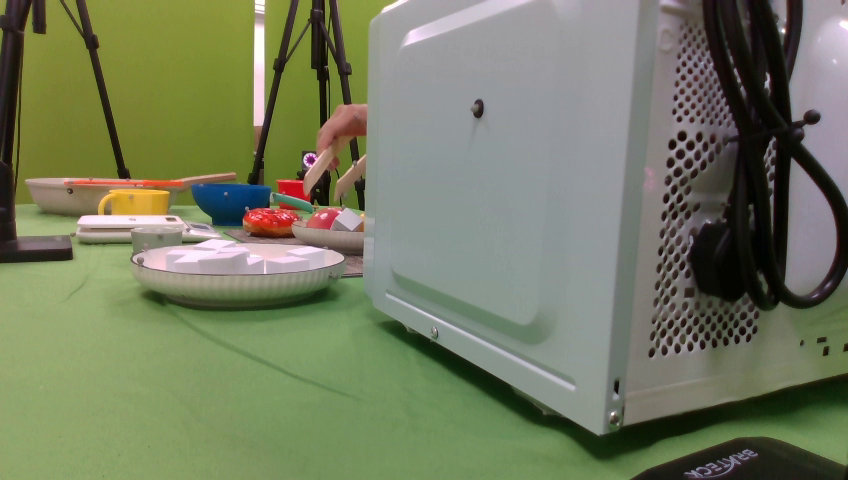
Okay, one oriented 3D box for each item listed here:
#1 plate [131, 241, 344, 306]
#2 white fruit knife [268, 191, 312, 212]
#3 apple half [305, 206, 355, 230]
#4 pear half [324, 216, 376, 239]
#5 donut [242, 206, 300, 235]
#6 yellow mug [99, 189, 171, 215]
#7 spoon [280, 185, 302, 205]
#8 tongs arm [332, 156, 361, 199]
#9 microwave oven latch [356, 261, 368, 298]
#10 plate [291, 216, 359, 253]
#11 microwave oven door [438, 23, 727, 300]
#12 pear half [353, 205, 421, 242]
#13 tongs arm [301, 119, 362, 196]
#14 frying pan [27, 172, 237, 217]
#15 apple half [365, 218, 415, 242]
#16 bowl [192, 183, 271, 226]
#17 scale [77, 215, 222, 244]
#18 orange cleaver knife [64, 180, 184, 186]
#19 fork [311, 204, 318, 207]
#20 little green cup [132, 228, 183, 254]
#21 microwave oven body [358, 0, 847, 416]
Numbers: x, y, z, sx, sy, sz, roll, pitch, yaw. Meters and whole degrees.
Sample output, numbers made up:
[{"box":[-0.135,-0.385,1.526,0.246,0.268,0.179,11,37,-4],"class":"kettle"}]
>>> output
[{"box":[-0.187,0.033,0.625,0.208,0.039,0.207,2,8,0],"class":"plate"},{"box":[-0.364,-0.105,1.464,0.208,0.027,0.016,15,-1,-34],"class":"white fruit knife"},{"box":[-0.138,-0.025,0.917,0.081,0.053,0.074,0,11,-43],"class":"apple half"},{"box":[-0.119,-0.023,0.995,0.088,0.031,0.070,-5,23,-29],"class":"pear half"},{"box":[-0.262,-0.032,1.039,0.099,0.048,0.099,4,10,0],"class":"donut"},{"box":[-0.519,-0.055,1.080,0.099,0.064,0.131,7,9,26],"class":"yellow mug"},{"box":[-0.317,-0.159,1.640,0.194,0.022,0.041,-49,32,-20],"class":"spoon"},{"box":[-0.094,-0.131,0.886,0.051,0.026,0.385,7,22,8],"class":"tongs arm"},{"box":[-0.019,0.033,0.530,0.079,0.029,0.030,-1,7,-26],"class":"microwave oven latch"},{"box":[-0.103,-0.010,0.945,0.209,0.038,0.209,2,7,0],"class":"plate"},{"box":[0.181,-0.073,0.621,0.358,0.243,0.039,-2,8,-29],"class":"microwave oven door"},{"box":[-0.051,-0.024,0.905,0.110,0.056,0.076,2,-3,-38],"class":"pear half"},{"box":[-0.119,-0.133,0.887,0.028,0.028,0.387,2,22,5],"class":"tongs arm"},{"box":[-0.624,-0.118,1.387,0.305,0.102,0.490,8,17,32],"class":"frying pan"},{"box":[-0.053,-0.019,0.967,0.081,0.033,0.081,-3,12,1],"class":"apple half"},{"box":[-0.382,-0.071,1.202,0.151,0.077,0.151,3,7,0],"class":"bowl"},{"box":[-0.434,-0.019,0.963,0.202,0.031,0.148,-1,9,-27],"class":"scale"},{"box":[-0.595,-0.114,1.212,0.212,0.012,0.077,-4,6,-41],"class":"orange cleaver knife"},{"box":[-0.356,-0.105,1.526,0.208,0.018,0.028,16,-6,-41],"class":"fork"},{"box":[-0.342,0.006,0.779,0.061,0.038,0.061,2,8,0],"class":"little green cup"},{"box":[0.211,-0.047,0.475,0.444,0.260,0.324,-1,7,-28],"class":"microwave oven body"}]
